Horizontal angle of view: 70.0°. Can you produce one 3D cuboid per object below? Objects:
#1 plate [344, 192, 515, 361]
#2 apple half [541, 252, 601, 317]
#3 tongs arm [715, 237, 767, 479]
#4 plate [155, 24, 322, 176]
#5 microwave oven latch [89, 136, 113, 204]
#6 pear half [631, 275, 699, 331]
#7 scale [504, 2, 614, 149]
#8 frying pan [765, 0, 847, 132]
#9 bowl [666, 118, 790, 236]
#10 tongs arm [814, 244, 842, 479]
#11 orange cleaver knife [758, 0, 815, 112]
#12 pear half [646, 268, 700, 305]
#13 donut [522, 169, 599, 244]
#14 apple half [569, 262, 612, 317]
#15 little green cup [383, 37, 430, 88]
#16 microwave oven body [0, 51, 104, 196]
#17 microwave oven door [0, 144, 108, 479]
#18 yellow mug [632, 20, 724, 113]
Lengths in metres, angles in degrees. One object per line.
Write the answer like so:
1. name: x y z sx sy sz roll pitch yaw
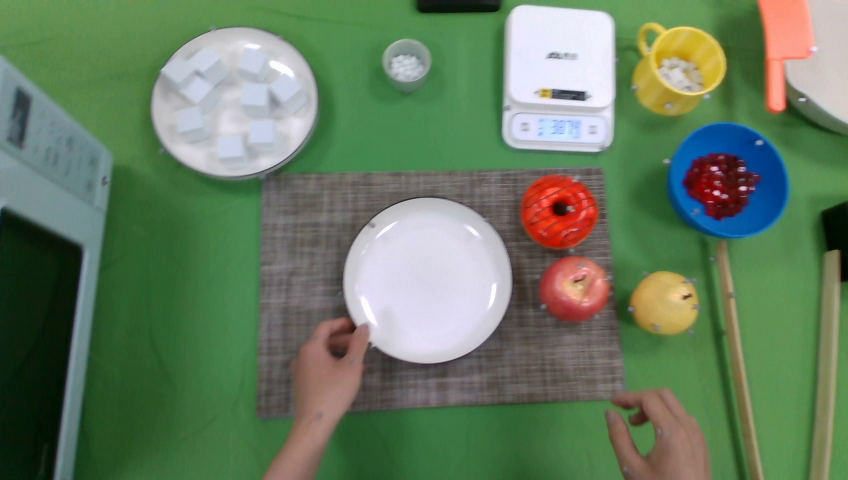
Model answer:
1. plate: 0.008 0.045 0.748 0.209 0.038 0.208 1 77 -4
2. apple half: 0.172 0.049 0.740 0.053 0.075 0.080 31 81 7
3. tongs arm: 0.412 0.184 0.750 0.051 0.026 0.383 -1 79 -8
4. plate: -0.236 -0.178 0.785 0.208 0.039 0.206 1 77 -4
5. microwave oven latch: -0.398 -0.085 0.735 0.030 0.029 0.079 2 78 -4
6. pear half: 0.290 0.079 0.726 0.076 0.110 0.056 29 77 7
7. scale: 0.184 -0.225 0.825 0.149 0.031 0.200 3 78 -2
8. frying pan: 0.660 -0.190 0.811 0.307 0.103 0.484 -28 73 -8
9. bowl: 0.375 -0.072 0.781 0.151 0.077 0.150 1 78 -3
10. tongs arm: 0.498 0.191 0.757 0.028 0.028 0.386 15 78 -8
11. orange cleaver knife: 0.476 -0.268 0.798 0.077 0.012 0.210 3 78 0
12. pear half: 0.309 0.053 0.743 0.070 0.088 0.031 28 78 6
13. donut: 0.173 -0.043 0.775 0.099 0.048 0.098 0 78 -1
14. apple half: 0.206 0.067 0.737 0.032 0.081 0.081 31 77 7
15. little green cup: -0.024 -0.235 0.811 0.061 0.039 0.061 1 77 -3
16. microwave oven body: -0.542 0.063 0.595 0.326 0.261 0.439 1 78 -4
17. microwave oven door: -0.396 0.106 0.589 0.039 0.244 0.354 1 77 -3
18. yellow mug: 0.333 -0.244 0.821 0.100 0.064 0.130 -34 81 -9
